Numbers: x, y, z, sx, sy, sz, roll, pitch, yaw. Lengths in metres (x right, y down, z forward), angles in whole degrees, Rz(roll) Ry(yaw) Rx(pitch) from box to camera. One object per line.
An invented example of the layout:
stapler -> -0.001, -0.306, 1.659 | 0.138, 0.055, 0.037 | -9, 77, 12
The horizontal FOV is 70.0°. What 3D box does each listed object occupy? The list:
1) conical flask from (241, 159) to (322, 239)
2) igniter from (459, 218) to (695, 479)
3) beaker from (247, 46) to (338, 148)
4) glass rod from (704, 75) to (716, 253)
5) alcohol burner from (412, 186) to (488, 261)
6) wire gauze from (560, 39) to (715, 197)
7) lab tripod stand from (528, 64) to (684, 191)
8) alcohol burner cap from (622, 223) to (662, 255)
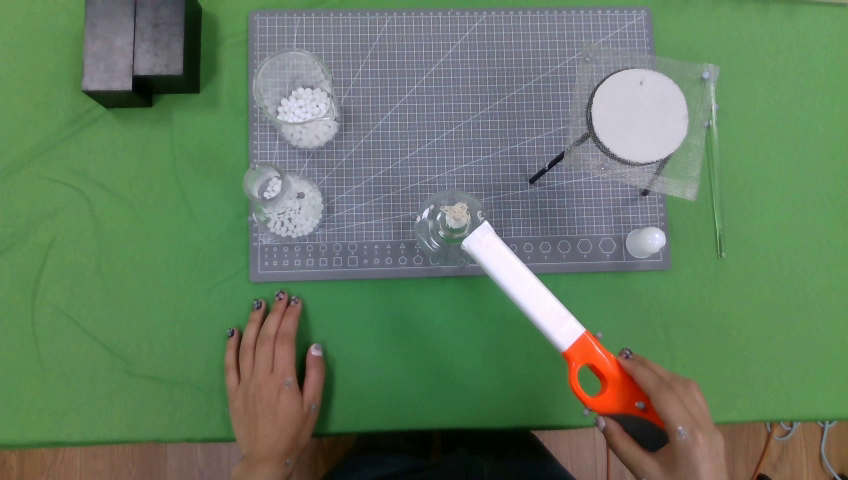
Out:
conical flask -> -0.143, -0.044, 0.586 | 0.075, 0.122, 0.075 | 0, 83, -2
igniter -> 0.132, 0.093, 0.520 | 0.057, 0.025, 0.276 | -41, 86, -14
beaker -> -0.123, -0.137, 0.608 | 0.084, 0.100, 0.074 | 35, 83, 2
glass rod -> 0.317, -0.085, 0.671 | 0.008, 0.008, 0.199 | 0, 86, -3
alcohol burner -> 0.026, -0.019, 0.595 | 0.078, 0.119, 0.077 | 0, 83, 0
wire gauze -> 0.188, -0.110, 0.534 | 0.125, 0.011, 0.121 | 13, 84, 0
lab tripod stand -> 0.182, -0.103, 0.601 | 0.148, 0.131, 0.148 | 0, 85, -2
alcohol burner cap -> 0.233, -0.003, 0.638 | 0.034, 0.048, 0.034 | 0, 83, -3
